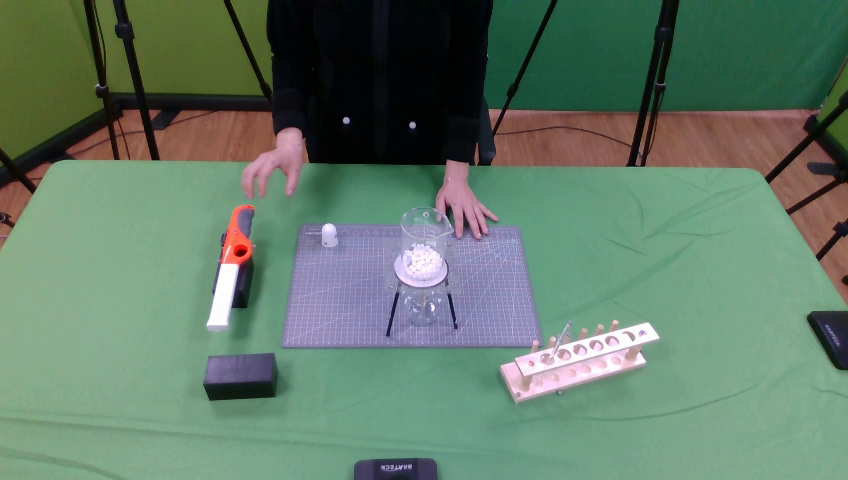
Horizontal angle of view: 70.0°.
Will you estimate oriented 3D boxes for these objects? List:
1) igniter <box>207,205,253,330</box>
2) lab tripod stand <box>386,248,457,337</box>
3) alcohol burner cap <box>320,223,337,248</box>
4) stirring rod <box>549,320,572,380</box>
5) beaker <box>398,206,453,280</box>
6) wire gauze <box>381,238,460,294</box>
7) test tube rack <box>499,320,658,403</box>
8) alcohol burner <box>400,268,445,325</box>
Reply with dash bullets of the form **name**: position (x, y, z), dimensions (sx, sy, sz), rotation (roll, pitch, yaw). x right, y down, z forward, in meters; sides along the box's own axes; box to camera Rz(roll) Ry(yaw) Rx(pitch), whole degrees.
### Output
- **igniter**: position (-0.339, 0.038, 1.066), dimensions (0.057, 0.025, 0.274), rotation (2, 48, -6)
- **lab tripod stand**: position (-0.010, 0.087, 1.032), dimensions (0.148, 0.132, 0.147), rotation (1, 45, -1)
- **alcohol burner cap**: position (-0.187, -0.011, 1.176), dimensions (0.034, 0.048, 0.033), rotation (2, 46, -2)
- **stirring rod**: position (0.201, 0.167, 0.901), dimensions (0.006, 0.177, 0.014), rotation (-16, 54, -10)
- **beaker**: position (0.000, 0.008, 0.950), dimensions (0.084, 0.101, 0.073), rotation (10, 45, 6)
- **wire gauze**: position (-0.007, 0.042, 0.985), dimensions (0.125, 0.011, 0.120), rotation (-1, 43, -2)
- **test tube rack**: position (0.252, 0.187, 0.995), dimensions (0.243, 0.085, 0.066), rotation (-12, 48, -15)
- **alcohol burner**: position (-0.003, 0.092, 1.042), dimensions (0.078, 0.120, 0.077), rotation (1, 46, -1)
